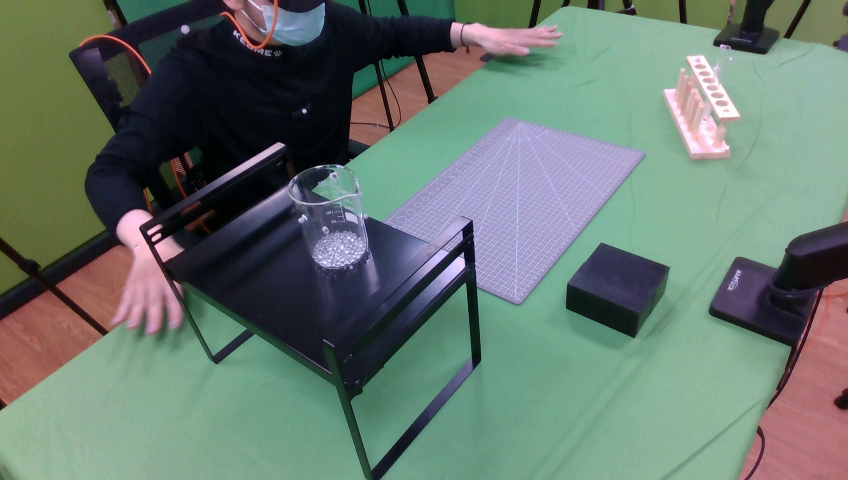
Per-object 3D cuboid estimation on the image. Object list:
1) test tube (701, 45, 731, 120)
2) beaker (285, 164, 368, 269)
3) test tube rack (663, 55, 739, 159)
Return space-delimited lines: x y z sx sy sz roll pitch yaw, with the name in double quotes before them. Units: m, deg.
"test tube" 0.527 -0.281 1.095 0.017 0.151 0.017 -3 46 3
"beaker" -0.102 -0.024 0.676 0.083 0.101 0.074 8 43 17
"test tube rack" 0.517 -0.256 1.144 0.066 0.085 0.241 -1 41 8
